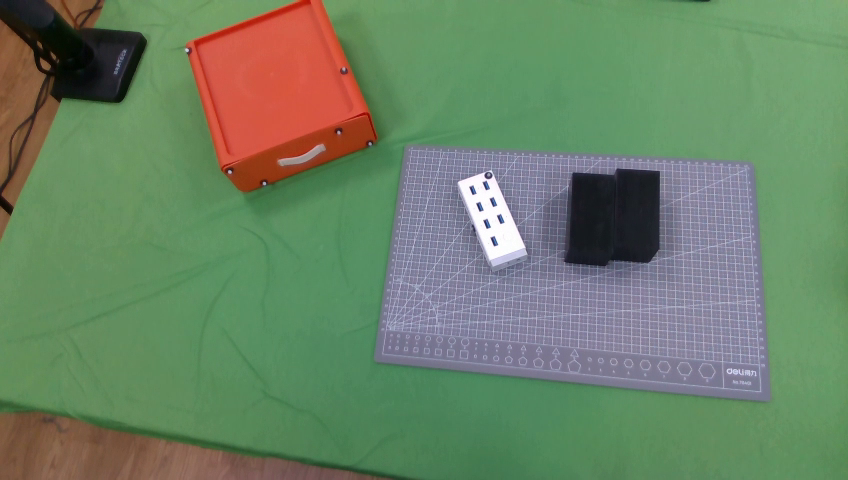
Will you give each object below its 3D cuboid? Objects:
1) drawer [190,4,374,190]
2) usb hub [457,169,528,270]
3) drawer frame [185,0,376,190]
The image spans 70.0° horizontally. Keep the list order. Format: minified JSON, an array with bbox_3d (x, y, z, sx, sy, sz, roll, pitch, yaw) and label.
[{"bbox_3d":[-0.195,-0.198,0.827,0.194,0.074,0.210,-22,69,-2],"label":"drawer"},{"bbox_3d":[0.085,-0.027,0.762,0.049,0.025,0.124,-20,70,-3],"label":"usb hub"},{"bbox_3d":[-0.196,-0.201,0.826,0.202,0.083,0.212,-23,68,-3],"label":"drawer frame"}]
